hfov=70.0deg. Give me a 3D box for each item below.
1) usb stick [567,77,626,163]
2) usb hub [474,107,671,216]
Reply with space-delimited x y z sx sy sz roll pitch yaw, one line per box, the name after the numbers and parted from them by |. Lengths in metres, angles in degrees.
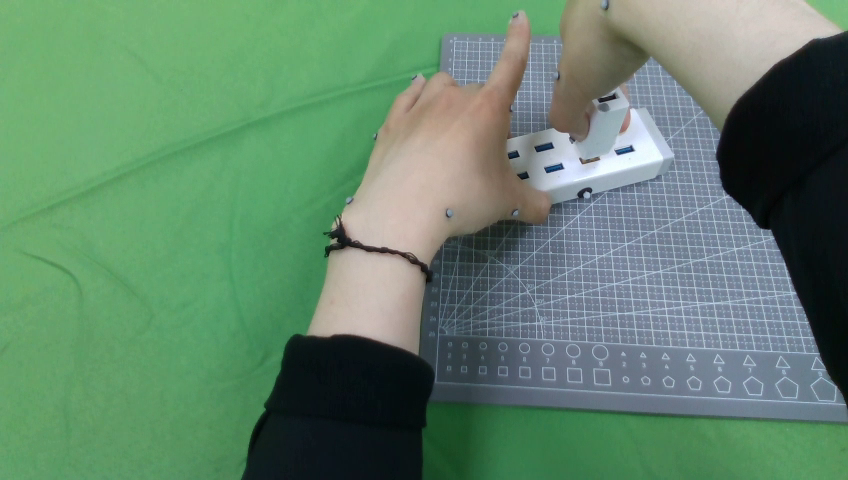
0.108 -0.072 0.386 0.021 0.059 0.027 -19 58 -9 | usb stick
0.100 -0.056 0.417 0.125 0.025 0.049 -14 63 -8 | usb hub
